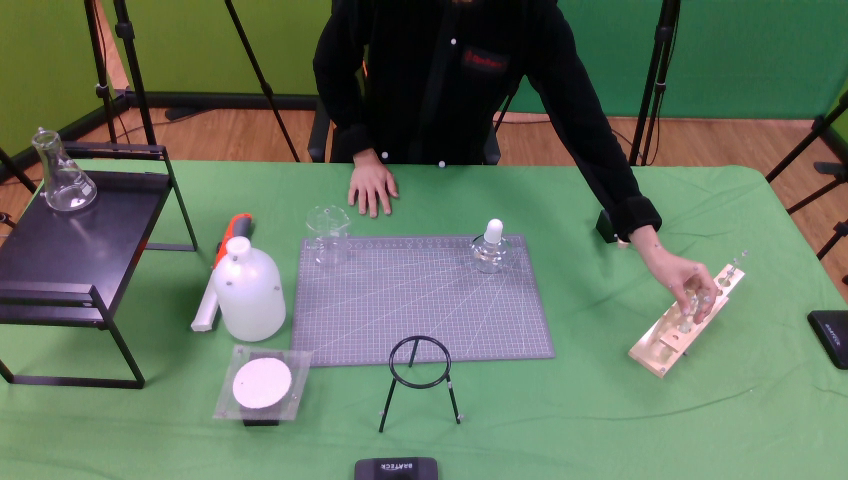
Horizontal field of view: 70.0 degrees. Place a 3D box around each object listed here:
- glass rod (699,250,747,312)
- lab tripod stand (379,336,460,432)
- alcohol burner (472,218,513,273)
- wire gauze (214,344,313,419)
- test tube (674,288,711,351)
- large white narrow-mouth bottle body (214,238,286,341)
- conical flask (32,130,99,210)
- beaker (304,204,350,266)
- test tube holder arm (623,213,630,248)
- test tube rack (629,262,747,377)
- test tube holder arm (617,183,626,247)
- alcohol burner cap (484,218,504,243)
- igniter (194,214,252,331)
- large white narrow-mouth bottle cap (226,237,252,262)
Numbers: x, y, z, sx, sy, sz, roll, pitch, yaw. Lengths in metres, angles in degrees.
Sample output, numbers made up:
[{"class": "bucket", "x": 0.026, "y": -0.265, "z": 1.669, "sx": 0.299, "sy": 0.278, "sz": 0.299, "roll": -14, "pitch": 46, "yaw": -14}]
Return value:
[{"class": "glass rod", "x": 0.500, "y": 0.075, "z": 1.021, "sx": 0.008, "sy": 0.201, "sz": 0.008, "roll": 0, "pitch": 54, "yaw": 0}, {"class": "lab tripod stand", "x": -0.010, "y": 0.214, "z": 0.911, "sx": 0.148, "sy": 0.132, "sz": 0.147, "roll": 1, "pitch": 45, "yaw": -1}, {"class": "alcohol burner", "x": 0.128, "y": 0.005, "z": 1.132, "sx": 0.078, "sy": 0.120, "sz": 0.077, "roll": 0, "pitch": 47, "yaw": 0}, {"class": "wire gauze", "x": -0.241, "y": 0.213, "z": 0.915, "sx": 0.121, "sy": 0.011, "sz": 0.124, "roll": 5, "pitch": 46, "yaw": 1}, {"class": "test tube", "x": 0.425, "y": 0.130, "z": 0.973, "sx": 0.017, "sy": 0.151, "sz": 0.017, "roll": 2, "pitch": 45, "yaw": -2}, {"class": "large white narrow-mouth bottle body", "x": -0.285, "y": 0.073, "z": 0.986, "sx": 0.102, "sy": 0.195, "sz": 0.101, "roll": 2, "pitch": 46, "yaw": -2}, {"class": "conical flask", "x": -0.565, "y": -0.111, "z": 0.944, "sx": 0.075, "sy": 0.122, "sz": 0.075, "roll": 2, "pitch": 46, "yaw": -2}, {"class": "beaker", "x": -0.178, "y": -0.006, "z": 1.132, "sx": 0.084, "sy": 0.101, "sz": 0.073, "roll": 4, "pitch": 46, "yaw": -1}, {"class": "test tube holder arm", "x": 0.392, "y": -0.020, "z": 1.180, "sx": 0.010, "sy": 0.015, "sz": 0.087, "roll": 15, "pitch": 47, "yaw": -1}, {"class": "test tube rack", "x": 0.464, "y": 0.126, "z": 1.060, "sx": 0.242, "sy": 0.085, "sz": 0.066, "roll": -34, "pitch": 56, "yaw": -31}, {"class": "test tube holder arm", "x": 0.395, "y": -0.053, "z": 1.211, "sx": 0.013, "sy": 0.015, "sz": 0.177, "roll": 15, "pitch": 47, "yaw": -1}, {"class": "alcohol burner cap", "x": 0.130, "y": -0.021, "z": 1.106, "sx": 0.034, "sy": 0.048, "sz": 0.033, "roll": 3, "pitch": 51, "yaw": -4}, {"class": "igniter", "x": -0.367, "y": 0.050, "z": 1.119, "sx": 0.057, "sy": 0.025, "sz": 0.275, "roll": -3, "pitch": 46, "yaw": 7}, {"class": "large white narrow-mouth bottle cap", "x": -0.282, "y": 0.014, "z": 0.923, "sx": 0.038, "sy": 0.024, "sz": 0.037, "roll": 2, "pitch": 46, "yaw": -2}]
